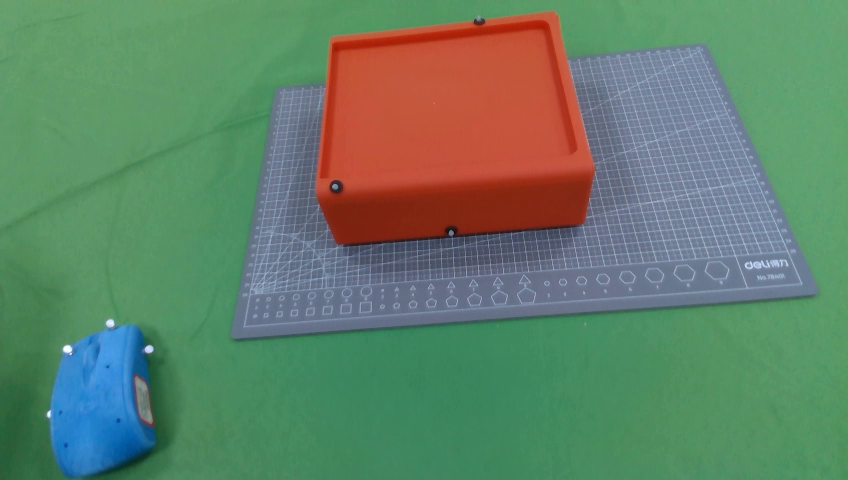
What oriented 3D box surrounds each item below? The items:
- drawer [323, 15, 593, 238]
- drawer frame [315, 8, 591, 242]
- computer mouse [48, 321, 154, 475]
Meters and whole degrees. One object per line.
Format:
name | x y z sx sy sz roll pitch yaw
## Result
drawer | 0.027 -0.103 0.536 0.211 0.074 0.192 -5 55 5
drawer frame | 0.024 -0.104 0.536 0.213 0.083 0.199 -6 55 4
computer mouse | -0.240 0.111 0.450 0.063 0.041 0.116 -21 51 -5
